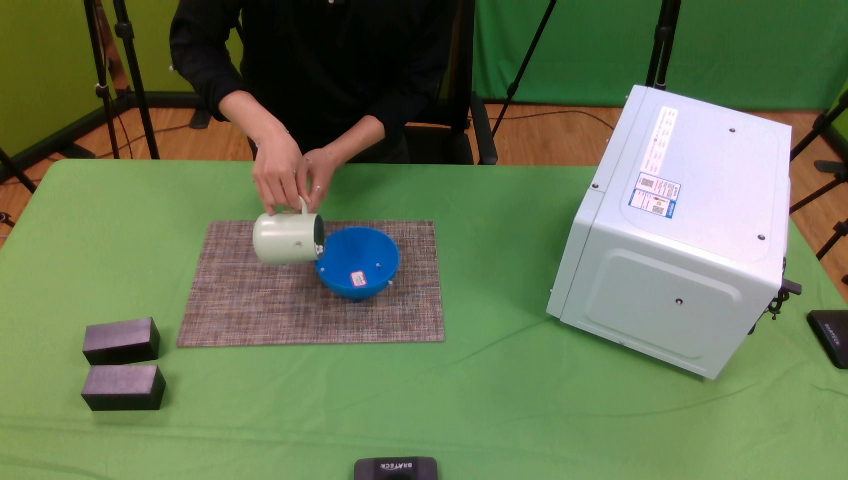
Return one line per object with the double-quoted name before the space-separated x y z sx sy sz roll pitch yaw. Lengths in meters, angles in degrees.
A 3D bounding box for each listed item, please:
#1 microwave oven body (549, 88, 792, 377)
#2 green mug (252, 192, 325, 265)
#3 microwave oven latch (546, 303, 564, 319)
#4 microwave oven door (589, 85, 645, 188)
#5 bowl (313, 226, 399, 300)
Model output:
"microwave oven body" 0.456 -0.028 1.088 0.325 0.261 0.440 20 47 16
"green mug" -0.232 -0.020 1.033 0.105 0.125 0.092 -2 16 7
"microwave oven latch" 0.242 0.102 1.081 0.030 0.029 0.079 21 48 17
"microwave oven door" 0.342 -0.107 1.149 0.039 0.245 0.354 20 48 15
"bowl" -0.120 0.054 1.091 0.151 0.077 0.150 2 46 -2
